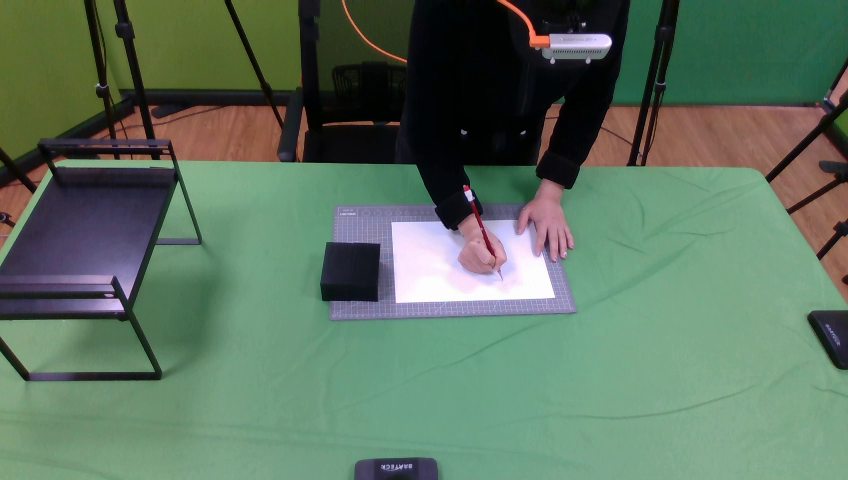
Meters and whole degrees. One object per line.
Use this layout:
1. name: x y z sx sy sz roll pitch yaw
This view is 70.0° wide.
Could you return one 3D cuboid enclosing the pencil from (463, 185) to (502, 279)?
1. pencil: 0.110 -0.013 1.124 0.012 0.194 0.012 -21 14 6
